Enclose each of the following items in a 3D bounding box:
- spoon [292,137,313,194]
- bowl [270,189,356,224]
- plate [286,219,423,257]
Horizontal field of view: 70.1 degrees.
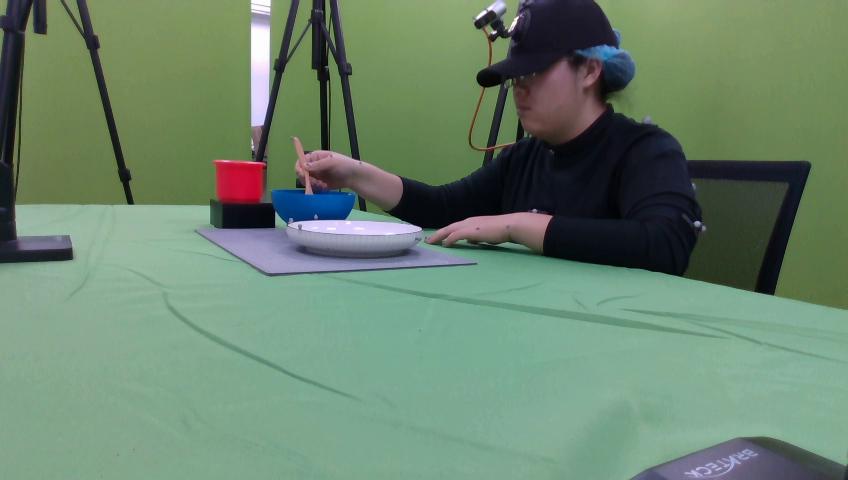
[{"bbox_3d":[-0.214,-0.111,1.100,0.042,0.193,0.021,4,-30,-37],"label":"spoon"},{"bbox_3d":[-0.198,-0.048,1.080,0.151,0.077,0.151,3,7,0],"label":"bowl"},{"bbox_3d":[-0.105,-0.004,0.922,0.208,0.039,0.207,3,8,0],"label":"plate"}]
